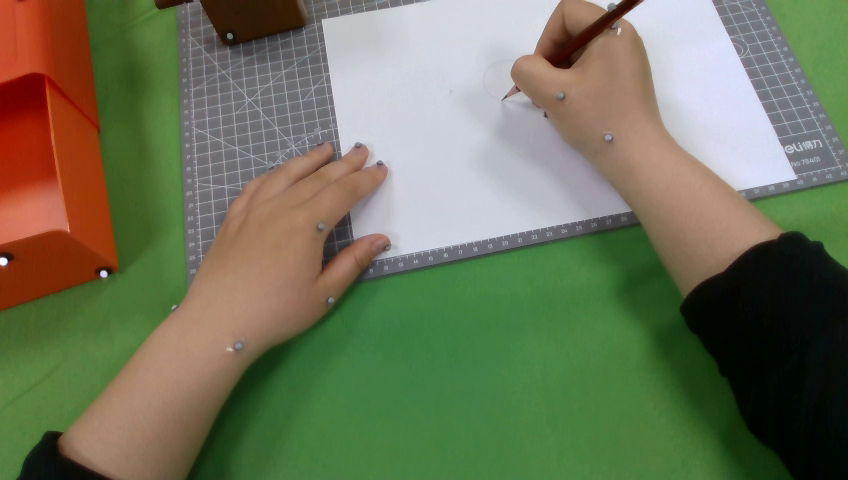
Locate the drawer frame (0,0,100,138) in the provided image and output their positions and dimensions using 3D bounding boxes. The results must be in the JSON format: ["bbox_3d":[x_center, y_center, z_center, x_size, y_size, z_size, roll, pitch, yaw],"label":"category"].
[{"bbox_3d":[-0.364,-0.147,0.449,0.202,0.083,0.211,-19,66,-3],"label":"drawer frame"}]

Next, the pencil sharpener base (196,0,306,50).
[{"bbox_3d":[-0.139,-0.201,0.440,0.077,0.108,0.061,-17,67,-2],"label":"pencil sharpener base"}]

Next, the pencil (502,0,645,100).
[{"bbox_3d":[0.105,-0.127,0.359,0.012,0.194,0.012,10,70,-28],"label":"pencil"}]

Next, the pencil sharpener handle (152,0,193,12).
[{"bbox_3d":[-0.188,-0.190,0.425,0.030,0.068,0.035,-17,64,-2],"label":"pencil sharpener handle"}]

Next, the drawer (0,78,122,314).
[{"bbox_3d":[-0.326,-0.045,0.406,0.194,0.074,0.210,-19,67,-4],"label":"drawer"}]
